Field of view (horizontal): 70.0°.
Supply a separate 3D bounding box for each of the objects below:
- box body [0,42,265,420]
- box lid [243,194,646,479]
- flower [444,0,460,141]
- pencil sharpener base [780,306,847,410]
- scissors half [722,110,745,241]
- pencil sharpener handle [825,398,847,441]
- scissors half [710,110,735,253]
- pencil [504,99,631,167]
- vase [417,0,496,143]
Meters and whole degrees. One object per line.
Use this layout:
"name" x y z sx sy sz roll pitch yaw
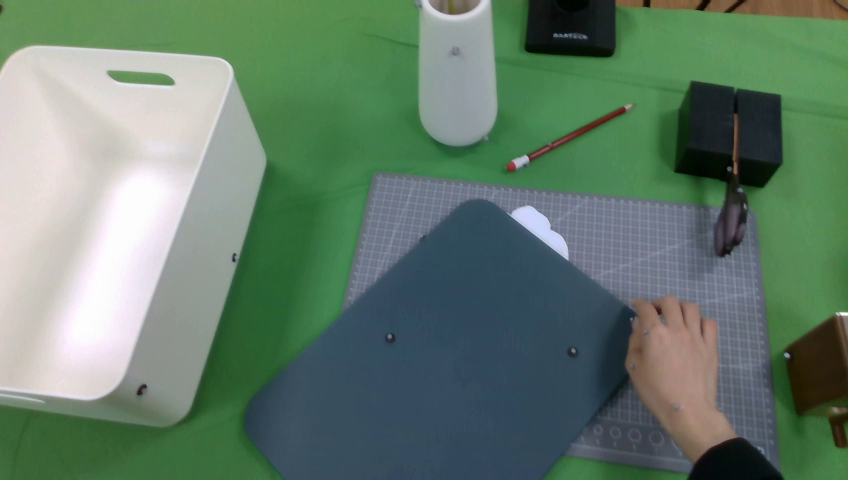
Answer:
"box body" -0.339 -0.010 0.635 0.254 0.161 0.361 5 64 6
"box lid" 0.025 0.133 0.626 0.261 0.015 0.371 41 73 20
"flower" 0.025 -0.253 0.625 0.044 0.365 0.038 -1 45 7
"pencil sharpener base" 0.390 0.116 0.562 0.061 0.108 0.076 3 63 5
"scissors half" 0.337 -0.077 0.661 0.013 0.040 0.174 9 59 10
"pencil sharpener handle" 0.381 0.155 0.529 0.036 0.068 0.030 8 63 -8
"scissors half" 0.338 -0.068 0.679 0.013 0.040 0.174 11 77 5
"pencil" 0.183 -0.136 0.756 0.194 0.012 0.012 -28 64 -12
"vase" 0.035 -0.202 0.692 0.098 0.201 0.097 -2 62 4
